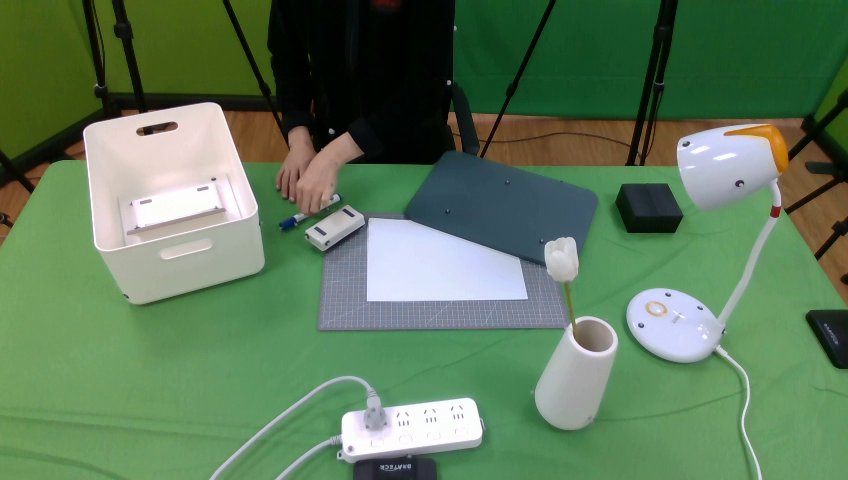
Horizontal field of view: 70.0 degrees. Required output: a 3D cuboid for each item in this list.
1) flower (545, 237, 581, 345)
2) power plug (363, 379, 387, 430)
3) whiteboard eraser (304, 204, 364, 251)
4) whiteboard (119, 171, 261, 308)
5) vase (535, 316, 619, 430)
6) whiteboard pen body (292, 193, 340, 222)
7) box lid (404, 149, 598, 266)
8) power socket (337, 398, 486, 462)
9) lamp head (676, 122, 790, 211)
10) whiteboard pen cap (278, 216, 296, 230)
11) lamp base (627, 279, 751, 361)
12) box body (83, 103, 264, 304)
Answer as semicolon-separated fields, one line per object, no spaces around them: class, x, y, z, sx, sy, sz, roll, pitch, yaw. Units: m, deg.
flower;0.213;0.137;0.846;0.038;0.364;0.044;22;55;40
power plug;-0.071;0.252;0.911;0.035;0.053;0.072;3;40;0
whiteboard eraser;-0.175;-0.022;1.188;0.055;0.042;0.112;36;54;26
whiteboard;-0.464;-0.060;1.137;0.217;0.144;0.303;-19;51;-17
vase;0.229;0.200;0.900;0.098;0.201;0.097;3;46;-3
whiteboard pen body;-0.231;-0.062;1.243;0.141;0.017;0.017;-31;56;-30
box lid;0.171;-0.074;1.289;0.371;0.015;0.262;19;47;14
power socket;-0.018;0.285;0.914;0.227;0.033;0.071;-4;46;-8
lamp head;0.423;-0.104;0.819;0.122;0.113;0.112;-13;33;40
whiteboard pen cap;-0.273;-0.034;1.213;0.033;0.018;0.018;-31;56;-31
lamp base;0.460;0.100;1.027;0.178;0.181;0.160;27;51;17
box body;-0.465;-0.077;1.137;0.254;0.161;0.361;-16;50;-19
